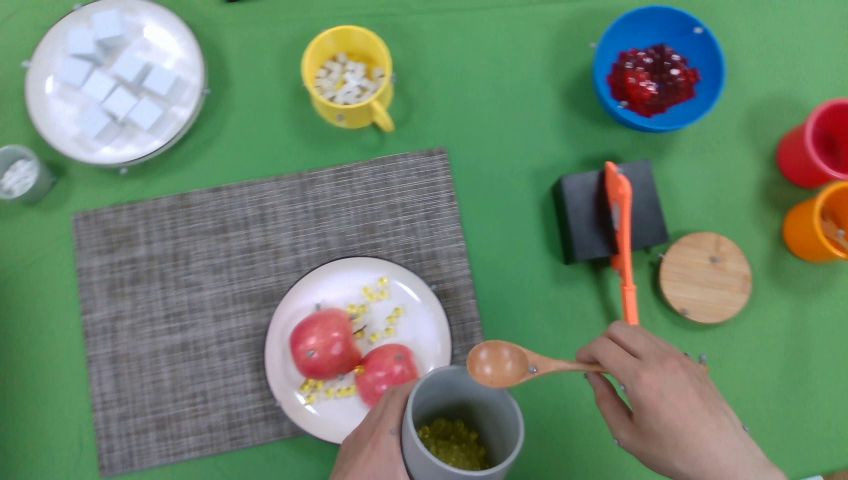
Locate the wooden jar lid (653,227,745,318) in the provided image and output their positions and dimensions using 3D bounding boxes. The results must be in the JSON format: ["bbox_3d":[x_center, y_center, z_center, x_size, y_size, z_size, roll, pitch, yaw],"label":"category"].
[{"bbox_3d":[0.324,0.039,0.720,0.108,0.021,0.108,0,82,0],"label":"wooden jar lid"}]

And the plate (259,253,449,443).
[{"bbox_3d":[-0.077,0.119,0.683,0.209,0.038,0.208,0,82,-2],"label":"plate"}]

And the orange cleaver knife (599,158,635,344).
[{"bbox_3d":[0.218,0.013,0.689,0.012,0.077,0.212,-10,106,0],"label":"orange cleaver knife"}]

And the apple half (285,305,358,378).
[{"bbox_3d":[-0.115,0.113,0.667,0.075,0.053,0.080,-14,83,-1],"label":"apple half"}]

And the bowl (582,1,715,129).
[{"bbox_3d":[0.255,-0.195,0.722,0.151,0.077,0.151,0,82,-1],"label":"bowl"}]

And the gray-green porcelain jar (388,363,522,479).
[{"bbox_3d":[0.024,0.194,0.566,0.106,0.127,0.105,8,43,-7],"label":"gray-green porcelain jar"}]

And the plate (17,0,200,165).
[{"bbox_3d":[-0.368,-0.187,0.722,0.208,0.039,0.207,0,82,-2],"label":"plate"}]

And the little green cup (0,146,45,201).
[{"bbox_3d":[-0.475,-0.074,0.700,0.061,0.039,0.061,0,83,-2],"label":"little green cup"}]

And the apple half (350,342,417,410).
[{"bbox_3d":[-0.045,0.153,0.672,0.081,0.033,0.081,0,78,0],"label":"apple half"}]

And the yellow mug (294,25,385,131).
[{"bbox_3d":[-0.089,-0.181,0.716,0.100,0.064,0.130,-40,86,-7],"label":"yellow mug"}]

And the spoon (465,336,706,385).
[{"bbox_3d":[0.130,0.103,0.505,0.193,0.022,0.041,-2,73,20],"label":"spoon"}]

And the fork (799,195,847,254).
[{"bbox_3d":[0.462,0.014,0.662,0.028,0.019,0.205,4,38,-1],"label":"fork"}]
